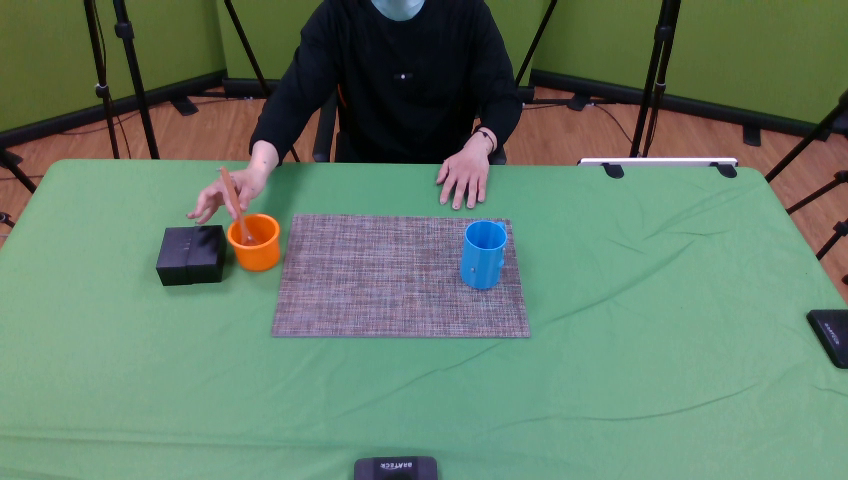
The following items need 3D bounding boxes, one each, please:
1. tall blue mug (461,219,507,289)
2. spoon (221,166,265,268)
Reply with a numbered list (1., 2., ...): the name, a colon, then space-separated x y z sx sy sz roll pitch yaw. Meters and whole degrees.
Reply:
1. tall blue mug: 0.111 0.016 1.122 0.078 0.108 0.106 6 46 4
2. spoon: -0.334 -0.041 1.106 0.041 0.194 0.021 -17 19 -12
